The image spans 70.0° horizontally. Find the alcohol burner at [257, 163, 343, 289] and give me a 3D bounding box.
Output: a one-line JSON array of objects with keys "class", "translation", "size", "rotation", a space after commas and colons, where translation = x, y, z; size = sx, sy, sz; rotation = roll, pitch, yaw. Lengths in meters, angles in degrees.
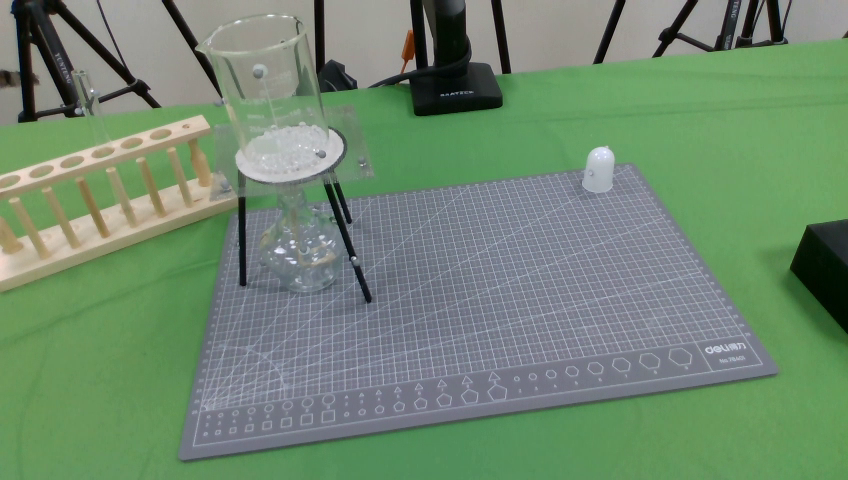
[{"class": "alcohol burner", "translation": [-0.113, -0.016, 0.538], "size": [0.078, 0.120, 0.077], "rotation": [-3, 39, 3]}]

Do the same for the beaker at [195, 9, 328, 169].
[{"class": "beaker", "translation": [-0.118, -0.112, 0.459], "size": [0.084, 0.101, 0.073], "rotation": [-6, 40, 1]}]

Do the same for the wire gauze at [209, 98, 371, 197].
[{"class": "wire gauze", "translation": [-0.112, -0.077, 0.494], "size": [0.125, 0.011, 0.120], "rotation": [-13, 39, -5]}]

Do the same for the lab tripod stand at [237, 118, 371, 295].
[{"class": "lab tripod stand", "translation": [-0.107, -0.028, 0.537], "size": [0.148, 0.133, 0.147], "rotation": [-3, 43, 3]}]

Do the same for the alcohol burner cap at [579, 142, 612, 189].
[{"class": "alcohol burner cap", "translation": [0.183, -0.082, 0.642], "size": [0.034, 0.048, 0.033], "rotation": [-3, 41, 3]}]

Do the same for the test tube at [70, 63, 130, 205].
[{"class": "test tube", "translation": [-0.323, -0.101, 0.608], "size": [0.017, 0.151, 0.017], "rotation": [0, 34, 1]}]

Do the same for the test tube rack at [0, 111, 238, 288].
[{"class": "test tube rack", "translation": [-0.327, -0.047, 0.622], "size": [0.243, 0.086, 0.066], "rotation": [-23, 44, -21]}]
